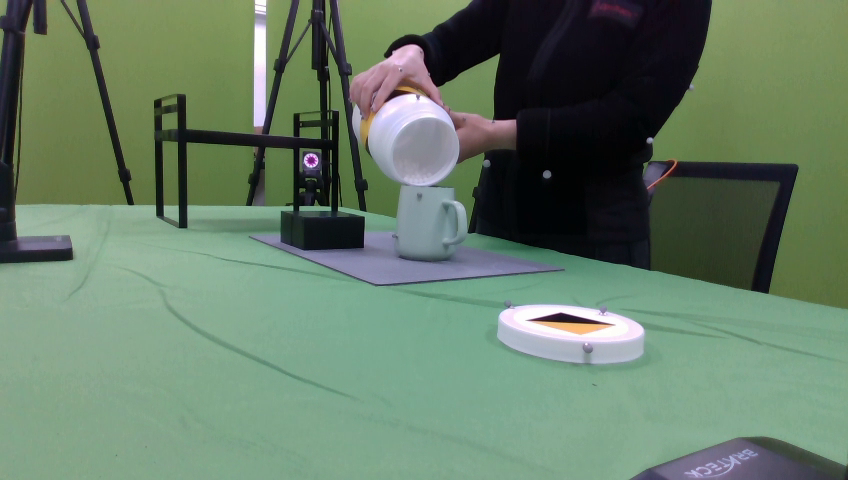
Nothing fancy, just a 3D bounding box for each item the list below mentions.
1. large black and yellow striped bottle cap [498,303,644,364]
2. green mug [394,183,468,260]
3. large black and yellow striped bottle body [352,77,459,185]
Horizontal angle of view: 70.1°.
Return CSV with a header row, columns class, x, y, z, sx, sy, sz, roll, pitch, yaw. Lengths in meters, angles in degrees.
class,x,y,z,sx,sy,sz,roll,pitch,yaw
large black and yellow striped bottle cap,0.117,0.072,0.486,0.115,0.019,0.115,1,8,0
green mug,0.015,-0.026,0.858,0.093,0.105,0.124,-3,9,-41
large black and yellow striped bottle body,-0.029,-0.168,0.935,0.131,0.130,0.183,-1,28,-22
